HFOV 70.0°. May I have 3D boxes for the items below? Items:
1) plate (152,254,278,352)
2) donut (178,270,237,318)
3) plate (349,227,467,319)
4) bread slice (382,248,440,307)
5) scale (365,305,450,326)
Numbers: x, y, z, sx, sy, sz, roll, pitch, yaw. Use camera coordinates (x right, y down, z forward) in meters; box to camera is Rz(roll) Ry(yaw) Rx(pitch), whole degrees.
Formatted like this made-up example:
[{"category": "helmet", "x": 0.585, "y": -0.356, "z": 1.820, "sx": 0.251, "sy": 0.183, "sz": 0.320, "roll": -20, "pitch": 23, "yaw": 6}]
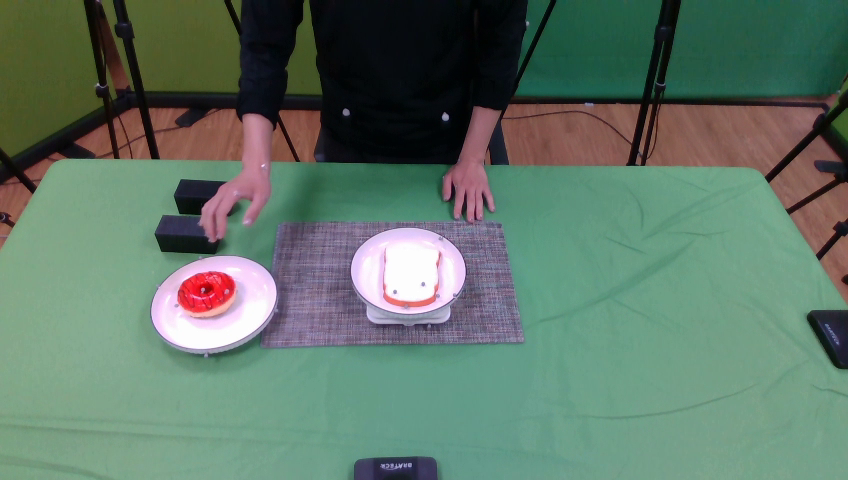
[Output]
[{"category": "plate", "x": -0.357, "y": 0.111, "z": 1.052, "sx": 0.208, "sy": 0.039, "sz": 0.206, "roll": 2, "pitch": 46, "yaw": -2}, {"category": "donut", "x": -0.375, "y": 0.092, "z": 1.053, "sx": 0.099, "sy": 0.048, "sz": 0.098, "roll": 1, "pitch": 42, "yaw": 0}, {"category": "plate", "x": -0.029, "y": 0.061, "z": 1.077, "sx": 0.209, "sy": 0.038, "sz": 0.208, "roll": 2, "pitch": 46, "yaw": -2}, {"category": "bread slice", "x": -0.023, "y": 0.064, "z": 1.077, "sx": 0.105, "sy": 0.019, "sz": 0.130, "roll": 2, "pitch": 45, "yaw": 0}, {"category": "scale", "x": -0.032, "y": 0.071, "z": 1.113, "sx": 0.149, "sy": 0.032, "sz": 0.199, "roll": 0, "pitch": 46, "yaw": -4}]
